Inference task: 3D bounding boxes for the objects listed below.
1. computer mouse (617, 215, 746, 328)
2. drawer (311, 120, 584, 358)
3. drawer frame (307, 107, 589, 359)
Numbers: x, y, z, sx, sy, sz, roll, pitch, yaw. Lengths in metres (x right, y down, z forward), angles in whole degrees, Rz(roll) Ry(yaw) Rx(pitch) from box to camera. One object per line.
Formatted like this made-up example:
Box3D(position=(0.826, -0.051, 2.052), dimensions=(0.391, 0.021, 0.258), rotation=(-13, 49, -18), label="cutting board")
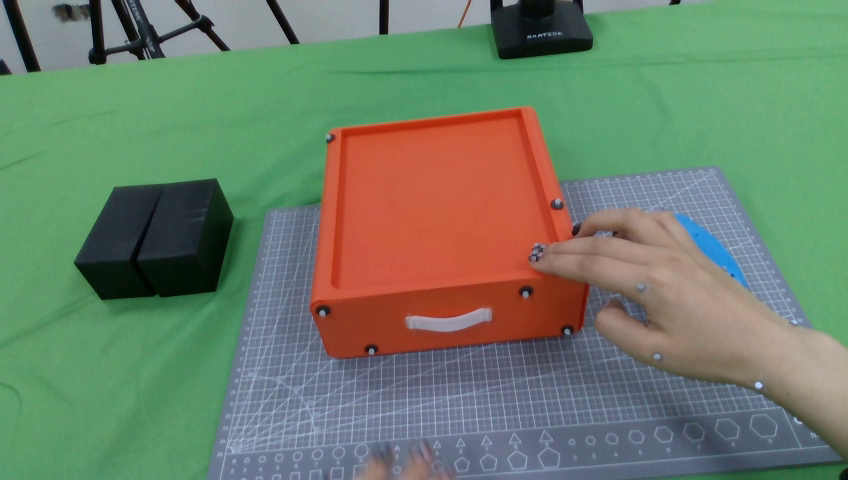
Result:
Box3D(position=(0.206, 0.018, 0.493), dimensions=(0.063, 0.041, 0.116), rotation=(-12, 42, -2), label="computer mouse")
Box3D(position=(0.014, -0.011, 0.516), dimensions=(0.194, 0.074, 0.209), rotation=(-7, 45, 2), label="drawer")
Box3D(position=(0.014, -0.013, 0.517), dimensions=(0.202, 0.083, 0.211), rotation=(-7, 45, 1), label="drawer frame")
